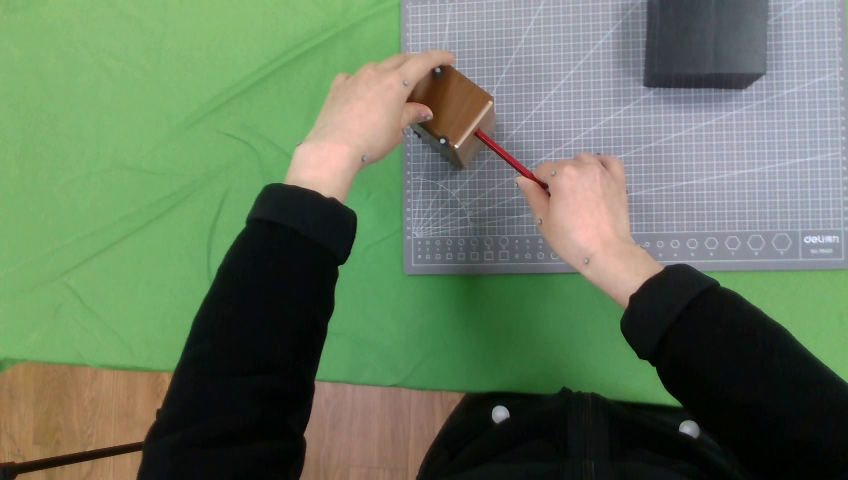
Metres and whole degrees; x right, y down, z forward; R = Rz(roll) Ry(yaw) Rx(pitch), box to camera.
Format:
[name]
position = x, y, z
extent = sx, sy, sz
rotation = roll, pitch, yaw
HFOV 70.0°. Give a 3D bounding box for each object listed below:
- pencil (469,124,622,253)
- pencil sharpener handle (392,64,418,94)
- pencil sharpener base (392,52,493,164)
[pencil]
position = 0.104, -0.053, 0.557
extent = 0.194, 0.012, 0.012
rotation = 41, 93, 3
[pencil sharpener handle]
position = -0.020, -0.161, 0.589
extent = 0.030, 0.068, 0.036
rotation = 38, 105, 8
[pencil sharpener base]
position = 0.020, -0.127, 0.595
extent = 0.076, 0.107, 0.061
rotation = 38, 93, 8
